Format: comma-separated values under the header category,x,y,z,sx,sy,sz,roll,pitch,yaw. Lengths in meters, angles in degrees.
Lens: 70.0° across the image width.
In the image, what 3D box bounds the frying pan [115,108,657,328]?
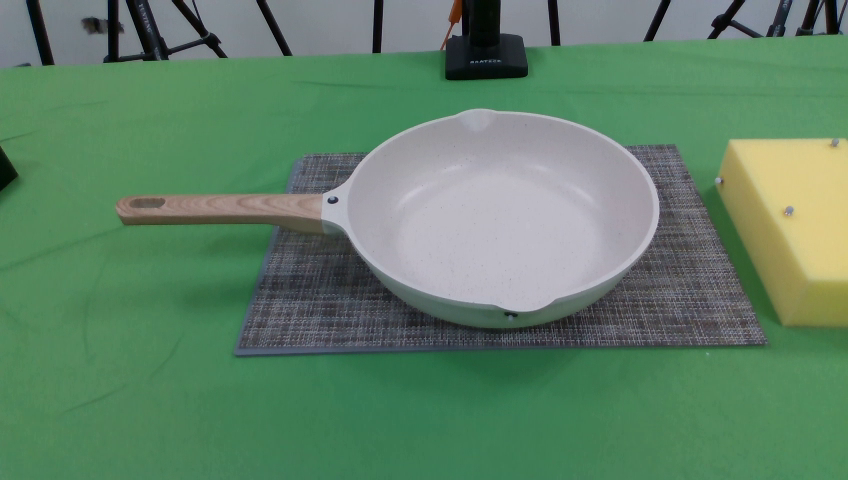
category,x,y,z,sx,sy,sz,roll,pitch,yaw
frying pan,-0.035,-0.028,0.577,0.489,0.103,0.303,2,41,-6

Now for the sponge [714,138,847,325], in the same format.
category,x,y,z,sx,sy,sz,roll,pitch,yaw
sponge,0.369,-0.015,0.569,0.118,0.061,0.205,-1,42,4
